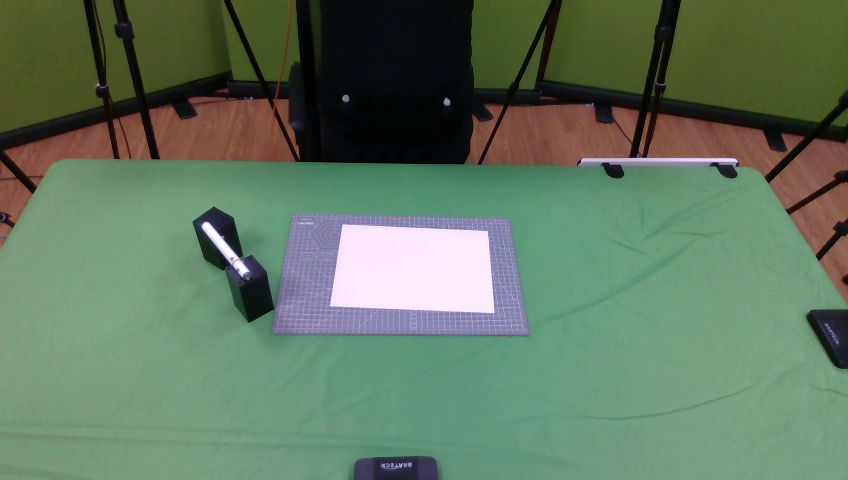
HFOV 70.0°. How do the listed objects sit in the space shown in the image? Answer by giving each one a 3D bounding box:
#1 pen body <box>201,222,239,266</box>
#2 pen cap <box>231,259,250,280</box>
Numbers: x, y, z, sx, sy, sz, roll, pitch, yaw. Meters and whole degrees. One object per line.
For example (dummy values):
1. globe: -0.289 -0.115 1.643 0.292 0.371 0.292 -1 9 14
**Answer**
1. pen body: -0.338 0.014 1.023 0.017 0.017 0.143 -29 53 -28
2. pen cap: -0.299 0.049 0.991 0.017 0.017 0.038 -29 54 -28
